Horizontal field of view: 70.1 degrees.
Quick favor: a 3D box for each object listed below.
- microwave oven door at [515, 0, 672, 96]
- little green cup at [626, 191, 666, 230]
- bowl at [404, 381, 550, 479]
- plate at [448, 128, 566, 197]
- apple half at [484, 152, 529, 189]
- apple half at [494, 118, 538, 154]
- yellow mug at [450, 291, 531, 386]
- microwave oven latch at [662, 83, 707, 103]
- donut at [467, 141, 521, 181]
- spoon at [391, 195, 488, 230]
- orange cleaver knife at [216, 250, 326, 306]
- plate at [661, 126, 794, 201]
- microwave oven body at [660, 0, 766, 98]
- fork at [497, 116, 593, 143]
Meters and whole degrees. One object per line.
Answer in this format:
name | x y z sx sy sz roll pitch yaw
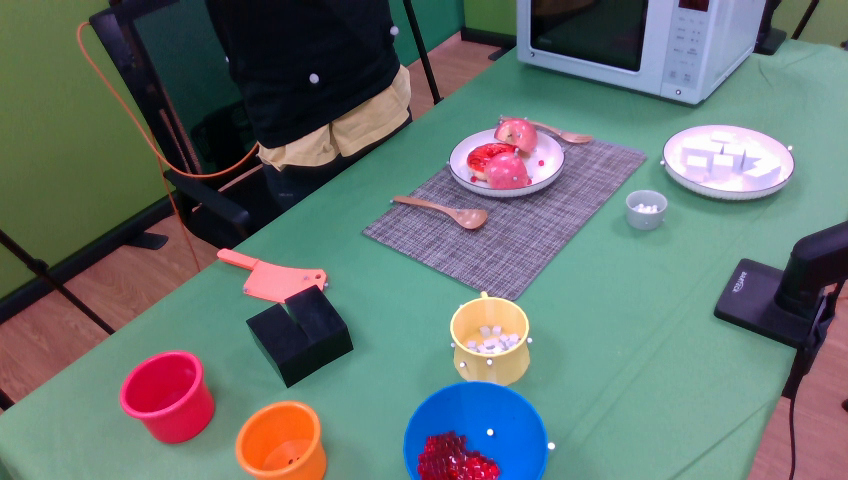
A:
microwave oven door | 0.343 -0.455 1.259 0.353 0.245 0.039 26 51 33
little green cup | 0.352 -0.046 0.963 0.061 0.039 0.061 -4 40 4
bowl | 0.058 0.235 0.645 0.151 0.077 0.150 -4 39 4
plate | 0.150 -0.138 1.097 0.209 0.038 0.208 -4 40 4
apple half | 0.144 -0.116 1.032 0.081 0.033 0.081 3 77 -11
apple half | 0.175 -0.196 1.114 0.080 0.053 0.075 29 12 34
yellow mug | 0.085 0.120 0.786 0.100 0.064 0.130 -7 39 1
microwave oven latch | 0.517 -0.296 1.204 0.078 0.029 0.030 27 52 35
donut | 0.126 -0.145 1.091 0.099 0.048 0.098 -5 40 5
spoon | 0.023 -0.054 1.029 0.192 0.022 0.041 18 72 26
orange cleaver knife | -0.248 0.058 0.945 0.210 0.012 0.077 12 49 20
plate | 0.513 -0.128 1.035 0.207 0.039 0.206 -4 40 4
microwave oven body | 0.472 -0.513 1.317 0.438 0.261 0.327 26 51 34
fork | 0.235 -0.221 1.195 0.206 0.019 0.028 23 55 29
